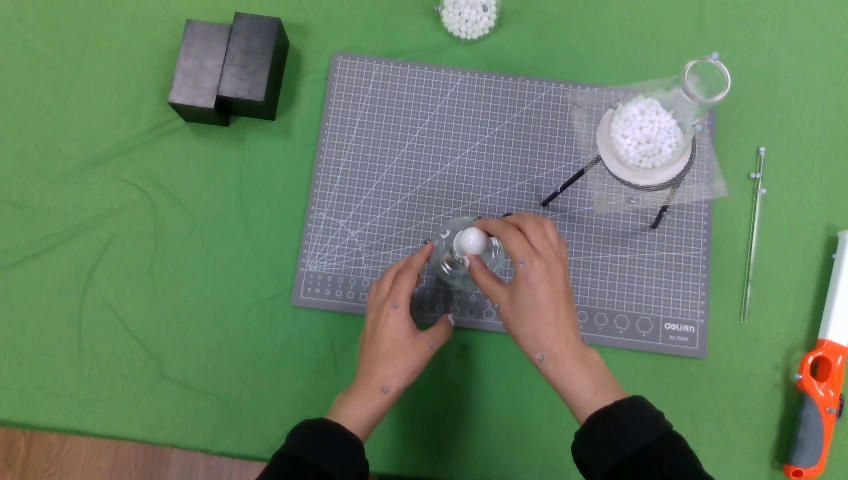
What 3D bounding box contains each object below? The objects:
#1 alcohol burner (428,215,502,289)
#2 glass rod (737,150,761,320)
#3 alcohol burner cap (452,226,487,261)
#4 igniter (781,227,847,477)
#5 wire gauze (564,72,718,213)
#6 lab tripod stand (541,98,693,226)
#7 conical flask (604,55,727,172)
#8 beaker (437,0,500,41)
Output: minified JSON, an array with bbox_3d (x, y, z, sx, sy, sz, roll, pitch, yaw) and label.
[{"bbox_3d":[0.043,0.009,0.612,0.078,0.119,0.077,0,80,-2],"label":"alcohol burner"},{"bbox_3d":[0.365,-0.008,0.679,0.008,0.008,0.199,12,79,1],"label":"glass rod"},{"bbox_3d":[0.045,0.001,0.577,0.034,0.048,0.034,1,83,-5],"label":"alcohol burner cap"},{"bbox_3d":[0.429,0.118,0.646,0.057,0.025,0.275,21,79,-8],"label":"igniter"},{"bbox_3d":[0.201,-0.090,0.558,0.125,0.011,0.121,-9,82,-5],"label":"wire gauze"},{"bbox_3d":[0.201,-0.075,0.622,0.148,0.132,0.148,0,80,0],"label":"lab tripod stand"},{"bbox_3d":[0.202,-0.107,0.501,0.075,0.122,0.075,0,81,-1],"label":"conical flask"},{"bbox_3d":[0.053,-0.279,0.679,0.084,0.100,0.073,-33,81,-8],"label":"beaker"}]
